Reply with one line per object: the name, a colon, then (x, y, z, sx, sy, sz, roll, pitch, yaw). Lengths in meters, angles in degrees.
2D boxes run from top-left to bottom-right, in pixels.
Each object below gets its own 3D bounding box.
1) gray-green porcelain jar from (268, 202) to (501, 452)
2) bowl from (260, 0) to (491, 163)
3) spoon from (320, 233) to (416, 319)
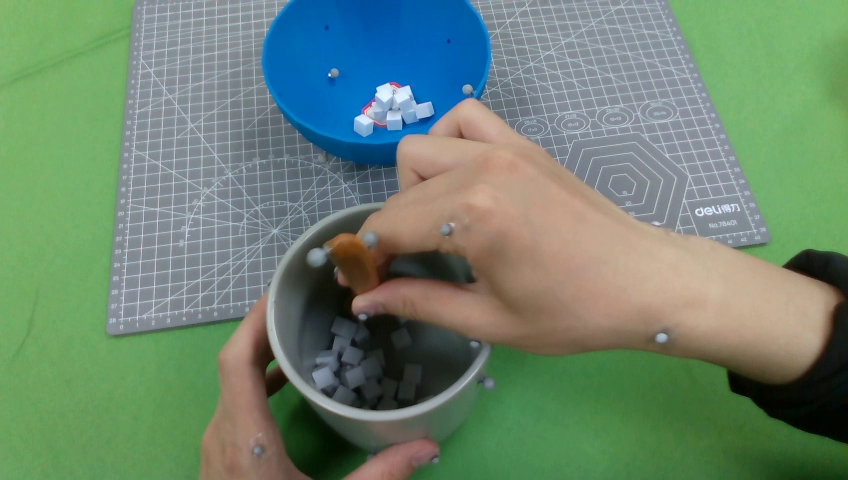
gray-green porcelain jar: (-0.016, 0.055, 0.327, 0.106, 0.127, 0.105, 0, 64, 1)
bowl: (-0.031, -0.108, 0.428, 0.151, 0.077, 0.150, 0, 64, 0)
spoon: (-0.024, 0.023, 0.294, 0.041, 0.194, 0.021, -19, 81, -3)
